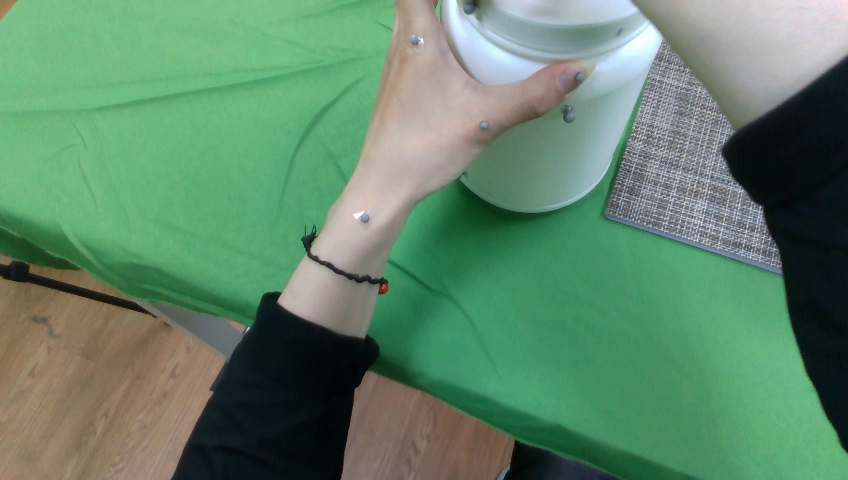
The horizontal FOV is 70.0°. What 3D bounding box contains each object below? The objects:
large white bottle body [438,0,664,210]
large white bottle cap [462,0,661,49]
[{"bbox_3d":[0.075,-0.115,0.395,0.130,0.186,0.129,-1,66,2],"label":"large white bottle body"},{"bbox_3d":[0.072,-0.150,0.317,0.115,0.018,0.114,-1,67,2],"label":"large white bottle cap"}]
